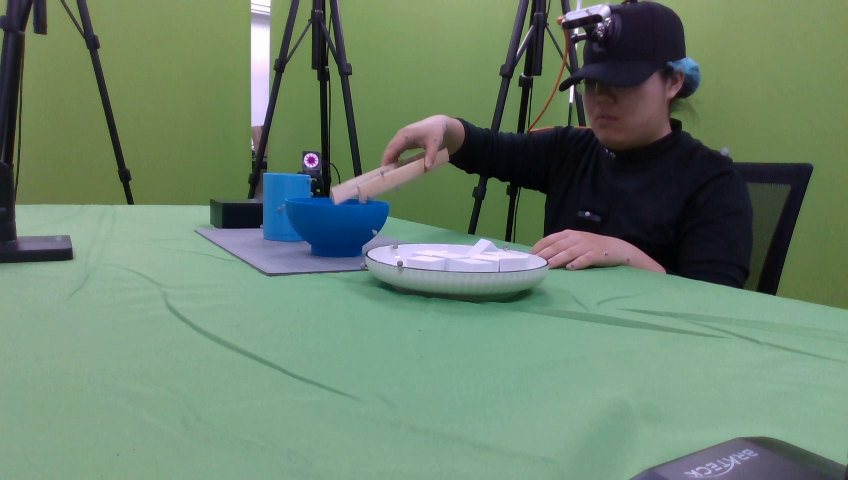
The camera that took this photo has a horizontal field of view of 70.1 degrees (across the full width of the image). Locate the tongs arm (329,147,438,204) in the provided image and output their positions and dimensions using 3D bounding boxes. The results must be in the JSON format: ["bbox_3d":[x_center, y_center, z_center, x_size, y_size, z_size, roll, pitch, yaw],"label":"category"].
[{"bbox_3d":[-0.055,-0.117,1.023,0.028,0.028,0.388,-10,12,25],"label":"tongs arm"}]

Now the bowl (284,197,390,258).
[{"bbox_3d":[-0.125,-0.018,0.870,0.151,0.077,0.151,3,7,0],"label":"bowl"}]

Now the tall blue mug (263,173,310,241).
[{"bbox_3d":[-0.233,-0.058,1.019,0.078,0.108,0.107,-1,8,-19],"label":"tall blue mug"}]

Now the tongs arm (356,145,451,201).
[{"bbox_3d":[-0.030,-0.119,1.012,0.050,0.026,0.386,-5,14,27],"label":"tongs arm"}]

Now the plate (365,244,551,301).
[{"bbox_3d":[0.038,0.035,0.685,0.209,0.038,0.209,2,7,0],"label":"plate"}]
